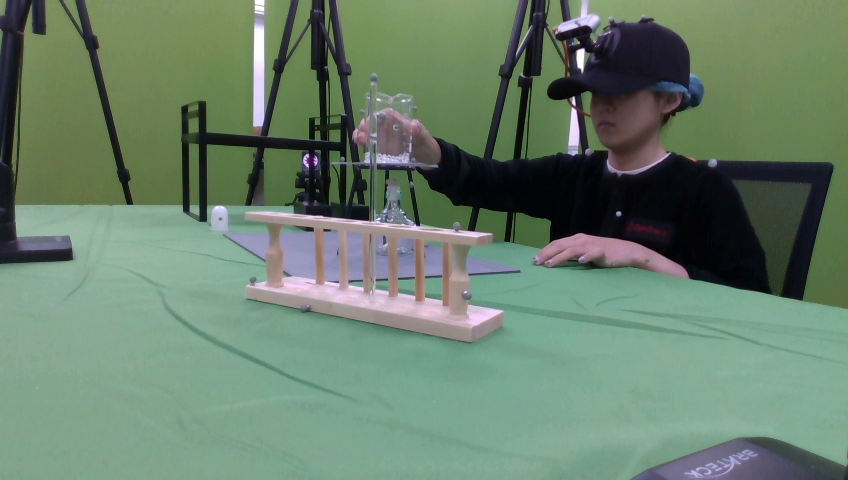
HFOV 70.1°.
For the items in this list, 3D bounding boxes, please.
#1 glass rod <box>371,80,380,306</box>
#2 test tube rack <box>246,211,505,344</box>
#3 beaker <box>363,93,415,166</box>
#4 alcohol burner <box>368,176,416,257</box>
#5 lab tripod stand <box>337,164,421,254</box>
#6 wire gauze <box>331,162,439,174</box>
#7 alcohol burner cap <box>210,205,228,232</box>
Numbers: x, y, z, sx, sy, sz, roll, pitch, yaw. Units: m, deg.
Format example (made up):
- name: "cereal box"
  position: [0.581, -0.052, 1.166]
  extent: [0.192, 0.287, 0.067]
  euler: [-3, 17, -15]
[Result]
- name: "glass rod"
  position: [-0.042, -0.039, 0.530]
  extent: [0.008, 0.199, 0.008]
  euler: [1, 2, 0]
- name: "test tube rack"
  position: [-0.049, 0.025, 0.547]
  extent: [0.241, 0.085, 0.067]
  euler: [7, 8, 29]
- name: "beaker"
  position: [-0.051, -0.157, 0.871]
  extent: [0.074, 0.100, 0.084]
  euler: [1, 6, -10]
- name: "alcohol burner"
  position: [-0.046, -0.035, 0.896]
  extent: [0.078, 0.119, 0.078]
  euler: [3, 5, 0]
- name: "lab tripod stand"
  position: [-0.061, -0.045, 0.894]
  extent: [0.148, 0.131, 0.148]
  euler: [1, 6, 0]
- name: "wire gauze"
  position: [-0.054, -0.109, 0.883]
  extent: [0.121, 0.011, 0.125]
  euler: [6, 5, 18]
- name: "alcohol burner cap"
  position: [-0.376, -0.040, 1.107]
  extent: [0.034, 0.048, 0.034]
  euler: [2, 7, 0]
